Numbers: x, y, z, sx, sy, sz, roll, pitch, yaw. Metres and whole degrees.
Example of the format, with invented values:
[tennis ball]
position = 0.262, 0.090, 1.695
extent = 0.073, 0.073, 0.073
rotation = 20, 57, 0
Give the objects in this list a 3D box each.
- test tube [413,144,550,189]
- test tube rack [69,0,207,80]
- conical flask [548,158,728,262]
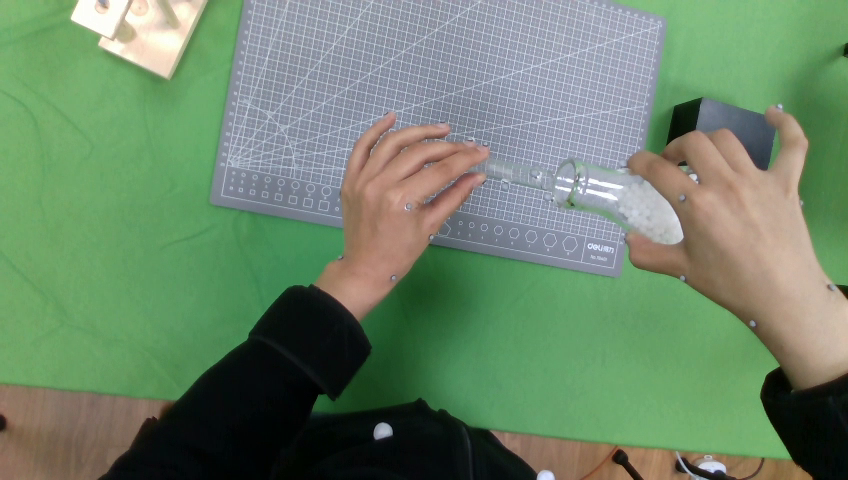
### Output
[test tube]
position = 0.041, -0.062, 0.498
extent = 0.017, 0.149, 0.017
rotation = -16, 114, -37
[test tube rack]
position = -0.216, -0.275, 0.539
extent = 0.067, 0.085, 0.242
rotation = 25, 87, -12
[conical flask]
position = 0.155, -0.030, 0.451
extent = 0.122, 0.075, 0.075
rotation = 12, 90, -16
